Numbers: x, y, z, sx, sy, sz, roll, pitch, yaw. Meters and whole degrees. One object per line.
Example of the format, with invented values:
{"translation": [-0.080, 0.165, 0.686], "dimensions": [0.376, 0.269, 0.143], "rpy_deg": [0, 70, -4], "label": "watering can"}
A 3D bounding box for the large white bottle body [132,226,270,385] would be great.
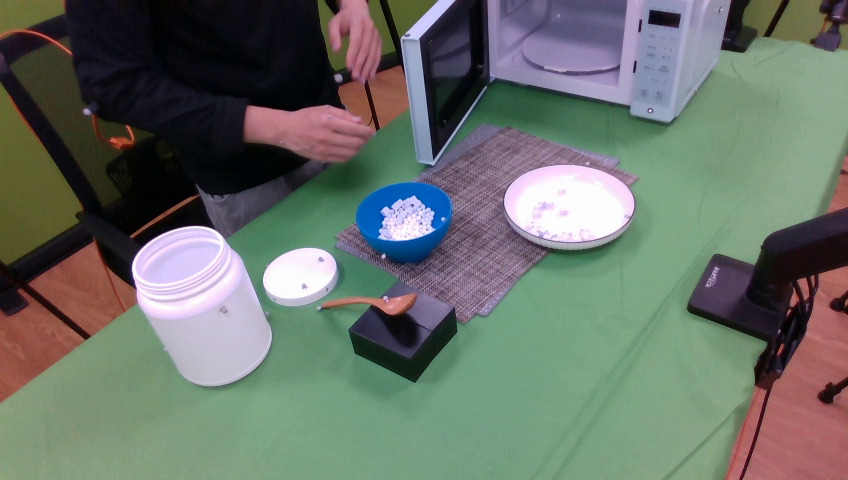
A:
{"translation": [-0.286, 0.085, 0.783], "dimensions": [0.130, 0.185, 0.130], "rpy_deg": [-4, 41, 4], "label": "large white bottle body"}

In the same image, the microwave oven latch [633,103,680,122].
{"translation": [0.443, -0.249, 1.157], "dimensions": [0.078, 0.029, 0.030], "rpy_deg": [21, 48, 30], "label": "microwave oven latch"}

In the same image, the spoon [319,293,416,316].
{"translation": [-0.082, 0.086, 0.826], "dimensions": [0.192, 0.022, 0.041], "rpy_deg": [-3, 37, 41], "label": "spoon"}

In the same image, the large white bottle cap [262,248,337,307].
{"translation": [-0.193, 0.056, 0.934], "dimensions": [0.115, 0.018, 0.114], "rpy_deg": [-5, 42, 5], "label": "large white bottle cap"}

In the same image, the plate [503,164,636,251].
{"translation": [0.232, -0.051, 0.976], "dimensions": [0.209, 0.038, 0.208], "rpy_deg": [-3, 41, 3], "label": "plate"}

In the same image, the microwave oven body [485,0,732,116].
{"translation": [0.377, -0.462, 1.267], "dimensions": [0.438, 0.261, 0.327], "rpy_deg": [21, 49, 30], "label": "microwave oven body"}

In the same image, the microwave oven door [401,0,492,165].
{"translation": [0.056, -0.344, 1.167], "dimensions": [0.039, 0.245, 0.356], "rpy_deg": [11, 44, 21], "label": "microwave oven door"}

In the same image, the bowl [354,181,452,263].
{"translation": [-0.028, -0.017, 0.943], "dimensions": [0.151, 0.077, 0.150], "rpy_deg": [-4, 40, 4], "label": "bowl"}
